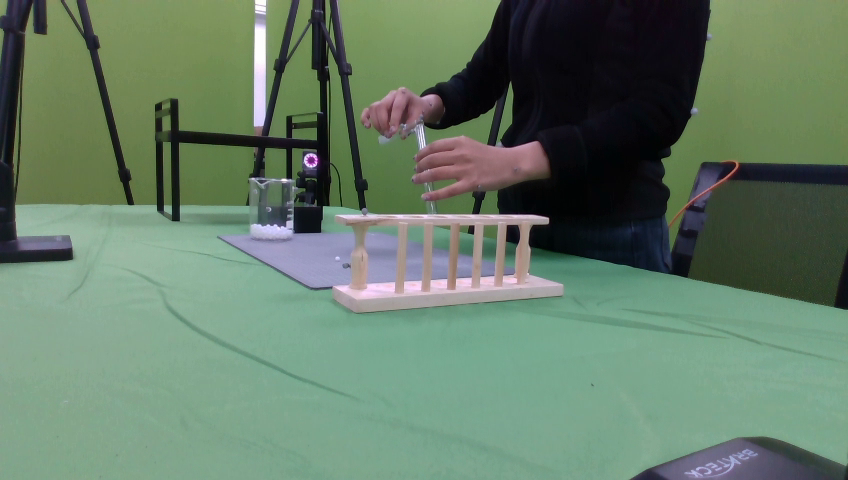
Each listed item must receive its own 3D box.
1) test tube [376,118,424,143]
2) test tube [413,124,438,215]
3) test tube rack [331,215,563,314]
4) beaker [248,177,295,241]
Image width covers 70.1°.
[{"bbox_3d":[-0.042,-0.176,0.980,0.017,0.017,0.149,-2,-1,-29],"label":"test tube"},{"bbox_3d":[0.003,-0.104,0.893,0.017,0.150,0.017,-8,-18,-2],"label":"test tube"},{"bbox_3d":[0.031,0.019,0.625,0.243,0.085,0.066,-1,8,-28],"label":"test tube rack"},{"bbox_3d":[-0.252,-0.051,0.992,0.074,0.100,0.084,3,9,6],"label":"beaker"}]
